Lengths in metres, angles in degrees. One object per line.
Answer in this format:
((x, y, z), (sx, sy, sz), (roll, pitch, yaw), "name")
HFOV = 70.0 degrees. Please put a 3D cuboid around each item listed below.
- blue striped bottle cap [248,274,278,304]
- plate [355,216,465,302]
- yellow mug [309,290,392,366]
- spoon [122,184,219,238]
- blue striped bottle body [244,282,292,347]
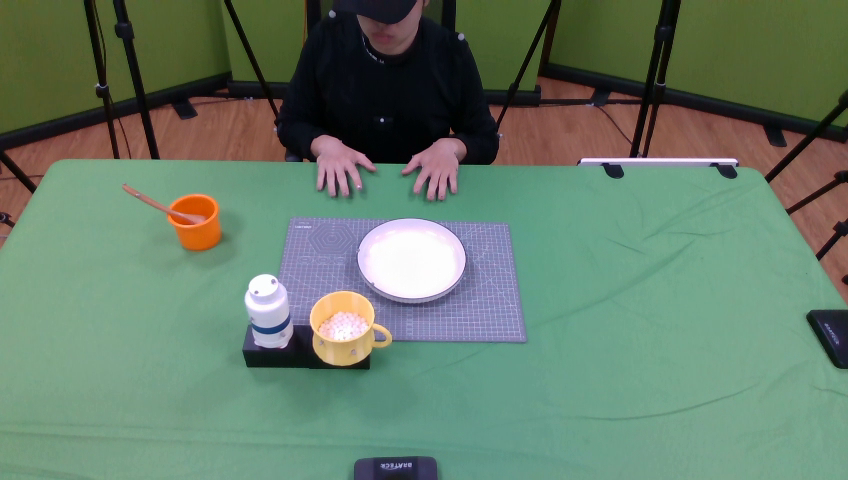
((-0.239, 0.072, 0.900), (0.044, 0.021, 0.044), (4, 46, -4), "blue striped bottle cap")
((-0.027, 0.039, 1.144), (0.208, 0.039, 0.206), (2, 46, -2), "plate")
((-0.114, 0.141, 0.954), (0.131, 0.064, 0.099), (12, 47, 6), "yellow mug")
((-0.463, -0.053, 1.118), (0.195, 0.021, 0.041), (28, 37, -35), "spoon")
((-0.241, 0.108, 0.937), (0.063, 0.121, 0.062), (2, 46, -2), "blue striped bottle body")
